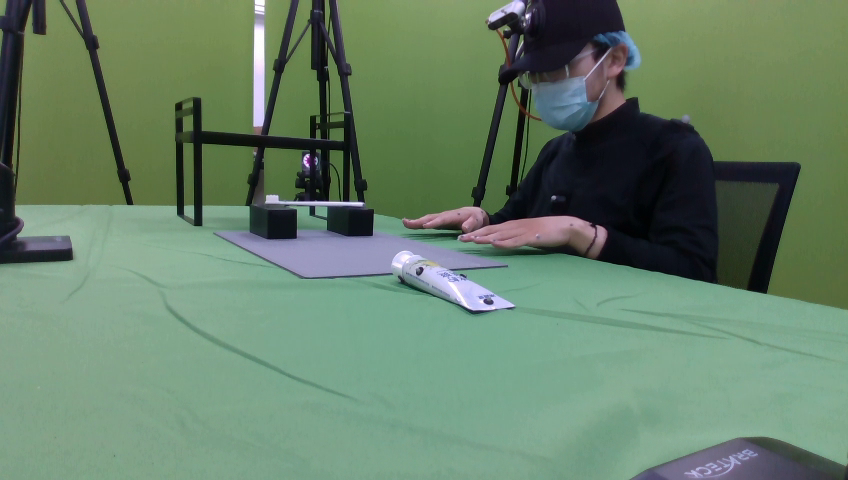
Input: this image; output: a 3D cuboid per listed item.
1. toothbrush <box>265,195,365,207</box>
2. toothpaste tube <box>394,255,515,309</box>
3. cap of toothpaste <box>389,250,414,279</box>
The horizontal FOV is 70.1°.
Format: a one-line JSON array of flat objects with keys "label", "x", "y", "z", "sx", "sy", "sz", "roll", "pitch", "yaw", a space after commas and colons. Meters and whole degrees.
[{"label": "toothbrush", "x": -0.192, "y": -0.068, "z": 1.082, "sx": 0.183, "sy": 0.016, "sz": 0.014, "roll": 1, "pitch": -8, "yaw": -26}, {"label": "toothpaste tube", "x": 0.020, "y": 0.046, "z": 0.636, "sx": 0.055, "sy": 0.034, "sz": 0.164, "roll": -6, "pitch": 15, "yaw": -35}, {"label": "cap of toothpaste", "x": -0.023, "y": 0.030, "z": 0.700, "sx": 0.037, "sy": 0.037, "sz": 0.011, "roll": -3, "pitch": 13, "yaw": -35}]
